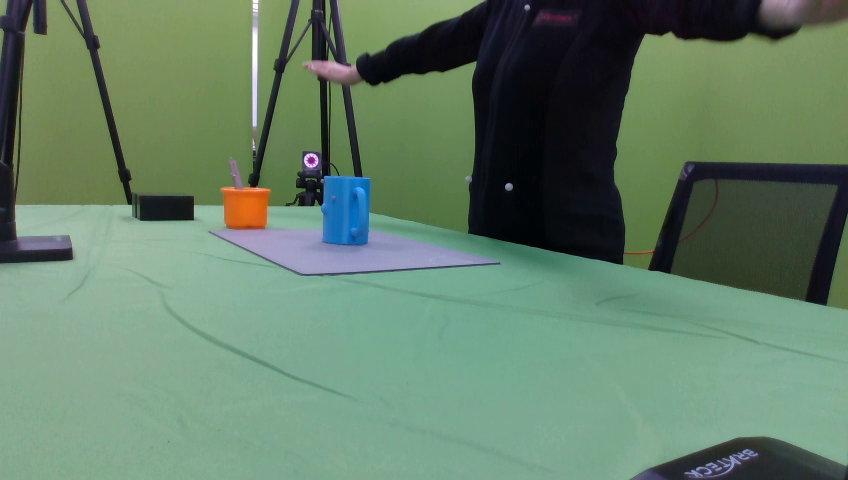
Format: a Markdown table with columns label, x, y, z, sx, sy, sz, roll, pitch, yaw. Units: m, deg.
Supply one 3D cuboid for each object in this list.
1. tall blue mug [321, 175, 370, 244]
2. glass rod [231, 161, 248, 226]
| label | x | y | z | sx | sy | sz | roll | pitch | yaw |
| --- | --- | --- | --- | --- | --- | --- | --- | --- | --- |
| tall blue mug | -0.116 | -0.049 | 0.991 | 0.106 | 0.108 | 0.078 | 7 | 8 | 33 |
| glass rod | -0.355 | -0.093 | 1.161 | 0.008 | 0.008 | 0.199 | -1 | 43 | -26 |
